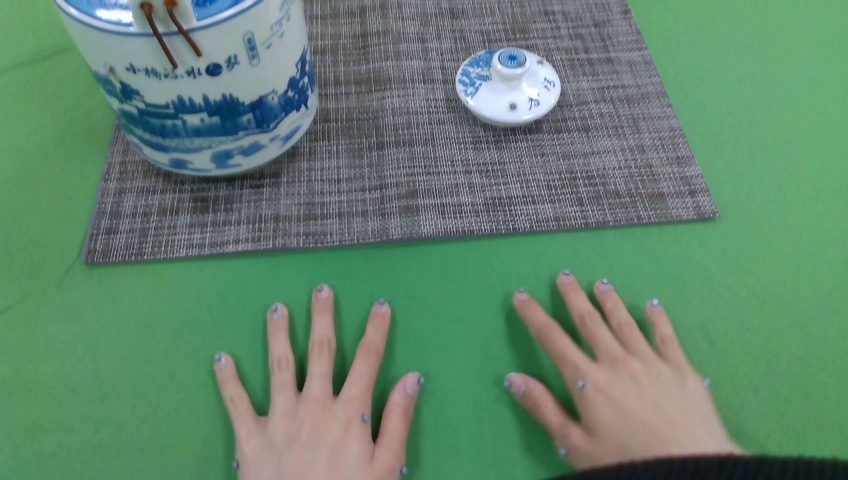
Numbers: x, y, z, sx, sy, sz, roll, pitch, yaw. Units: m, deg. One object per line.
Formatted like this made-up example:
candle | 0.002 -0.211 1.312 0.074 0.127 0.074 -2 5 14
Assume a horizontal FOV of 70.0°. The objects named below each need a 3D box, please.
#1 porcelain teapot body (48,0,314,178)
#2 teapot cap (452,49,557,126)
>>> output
porcelain teapot body | -0.161 -0.178 0.402 0.145 0.227 0.203 -10 58 -8
teapot cap | 0.065 -0.128 0.486 0.085 0.044 0.084 -1 57 1
